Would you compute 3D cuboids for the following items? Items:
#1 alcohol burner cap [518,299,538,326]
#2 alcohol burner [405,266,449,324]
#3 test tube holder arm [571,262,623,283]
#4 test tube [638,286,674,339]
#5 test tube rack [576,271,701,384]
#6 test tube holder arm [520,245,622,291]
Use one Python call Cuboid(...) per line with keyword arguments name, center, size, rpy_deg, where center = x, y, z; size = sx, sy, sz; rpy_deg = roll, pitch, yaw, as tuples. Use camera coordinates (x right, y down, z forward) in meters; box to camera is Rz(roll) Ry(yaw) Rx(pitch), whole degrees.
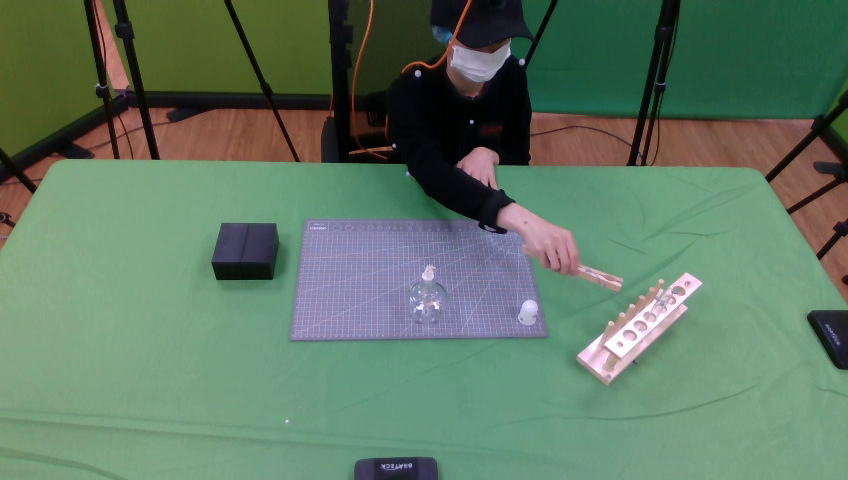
Cuboid(name="alcohol burner cap", center=(0.186, 0.126, 1.072), size=(0.034, 0.048, 0.033), rpy_deg=(2, 45, -1))
Cuboid(name="alcohol burner", center=(0.005, 0.089, 1.043), size=(0.078, 0.120, 0.077), rpy_deg=(1, 45, -1))
Cuboid(name="test tube holder arm", center=(0.291, 0.058, 1.025), size=(0.087, 0.015, 0.010), rpy_deg=(18, 35, 15))
Cuboid(name="test tube", center=(0.375, 0.123, 0.994), size=(0.017, 0.151, 0.017), rpy_deg=(2, 52, -2))
Cuboid(name="test tube rack", center=(0.373, 0.138, 1.047), size=(0.242, 0.085, 0.066), rpy_deg=(-31, 56, -29))
Cuboid(name="test tube holder arm", center=(0.248, 0.046, 1.034), size=(0.178, 0.015, 0.013), rpy_deg=(21, 35, 19))
